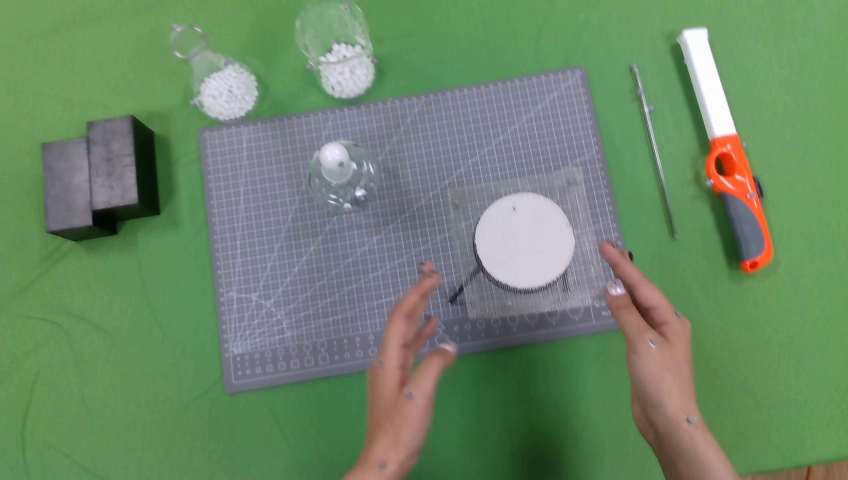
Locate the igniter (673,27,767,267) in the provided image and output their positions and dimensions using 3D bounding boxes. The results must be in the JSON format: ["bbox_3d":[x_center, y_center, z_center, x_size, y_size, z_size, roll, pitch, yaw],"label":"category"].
[{"bbox_3d":[0.327,-0.106,0.669,0.057,0.025,0.275,-9,80,-11],"label":"igniter"}]

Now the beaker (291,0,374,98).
[{"bbox_3d":[-0.092,-0.204,0.660,0.084,0.100,0.074,26,82,5],"label":"beaker"}]

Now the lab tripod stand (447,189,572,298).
[{"bbox_3d":[0.085,0.013,0.597,0.148,0.132,0.148,0,81,2],"label":"lab tripod stand"}]

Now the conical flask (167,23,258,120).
[{"bbox_3d":[-0.230,-0.184,0.648,0.075,0.122,0.075,0,80,1],"label":"conical flask"}]

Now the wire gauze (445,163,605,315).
[{"bbox_3d":[0.087,0.000,0.531,0.125,0.011,0.121,-8,81,1],"label":"wire gauze"}]

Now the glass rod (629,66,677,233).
[{"bbox_3d":[0.256,-0.104,0.679,0.008,0.008,0.199,-10,79,-1],"label":"glass rod"}]

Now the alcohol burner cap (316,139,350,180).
[{"bbox_3d":[-0.090,-0.081,0.591,0.034,0.048,0.033,1,79,-4],"label":"alcohol burner cap"}]

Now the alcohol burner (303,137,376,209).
[{"bbox_3d":[-0.090,-0.074,0.627,0.078,0.119,0.077,0,81,1],"label":"alcohol burner"}]
